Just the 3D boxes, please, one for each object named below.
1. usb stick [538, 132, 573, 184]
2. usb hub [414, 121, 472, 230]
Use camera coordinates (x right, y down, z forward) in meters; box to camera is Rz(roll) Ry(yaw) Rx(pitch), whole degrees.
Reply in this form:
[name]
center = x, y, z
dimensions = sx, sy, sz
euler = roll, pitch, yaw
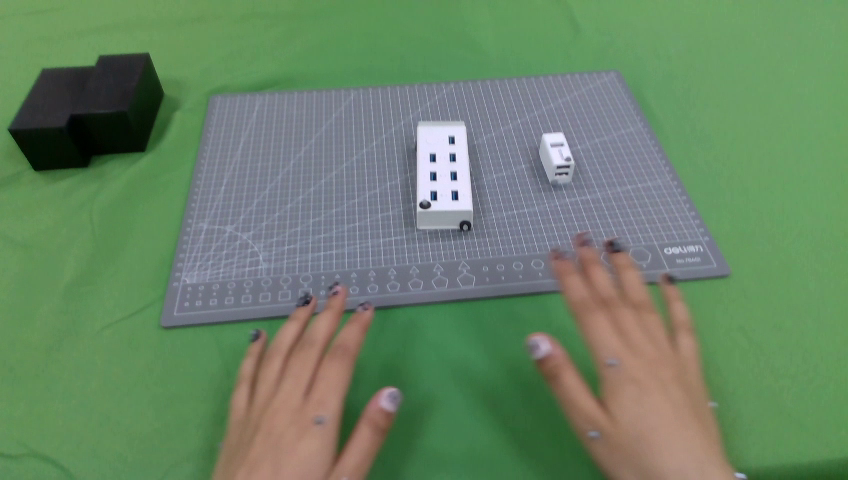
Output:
[usb stick]
center = 0.122, -0.082, 0.570
dimensions = 0.021, 0.027, 0.058
euler = -5, 46, -3
[usb hub]
center = 0.016, -0.062, 0.554
dimensions = 0.049, 0.025, 0.124
euler = -1, 48, 0
